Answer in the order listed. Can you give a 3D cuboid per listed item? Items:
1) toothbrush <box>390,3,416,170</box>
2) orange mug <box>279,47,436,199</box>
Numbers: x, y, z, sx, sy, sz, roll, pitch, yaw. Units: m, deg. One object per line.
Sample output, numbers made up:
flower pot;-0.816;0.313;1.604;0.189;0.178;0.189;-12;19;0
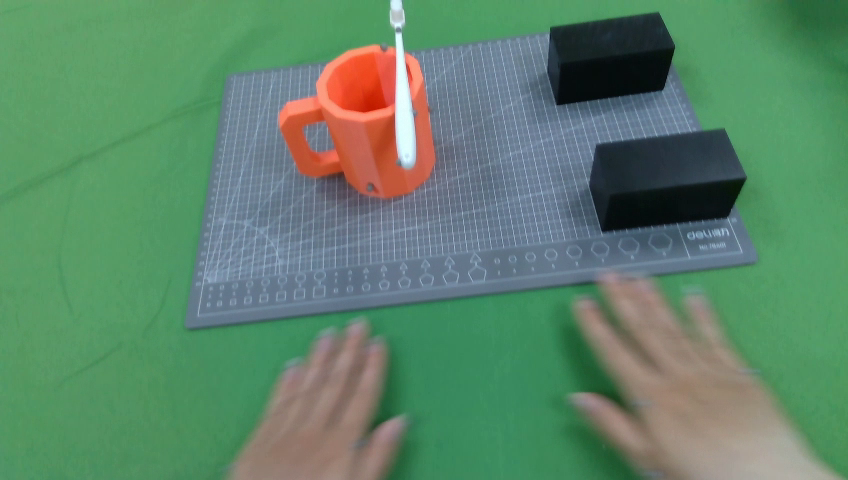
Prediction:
toothbrush;-0.017;-0.125;0.469;0.014;0.017;0.180;0;55;-7
orange mug;-0.055;-0.094;0.516;0.126;0.102;0.082;-11;56;-5
